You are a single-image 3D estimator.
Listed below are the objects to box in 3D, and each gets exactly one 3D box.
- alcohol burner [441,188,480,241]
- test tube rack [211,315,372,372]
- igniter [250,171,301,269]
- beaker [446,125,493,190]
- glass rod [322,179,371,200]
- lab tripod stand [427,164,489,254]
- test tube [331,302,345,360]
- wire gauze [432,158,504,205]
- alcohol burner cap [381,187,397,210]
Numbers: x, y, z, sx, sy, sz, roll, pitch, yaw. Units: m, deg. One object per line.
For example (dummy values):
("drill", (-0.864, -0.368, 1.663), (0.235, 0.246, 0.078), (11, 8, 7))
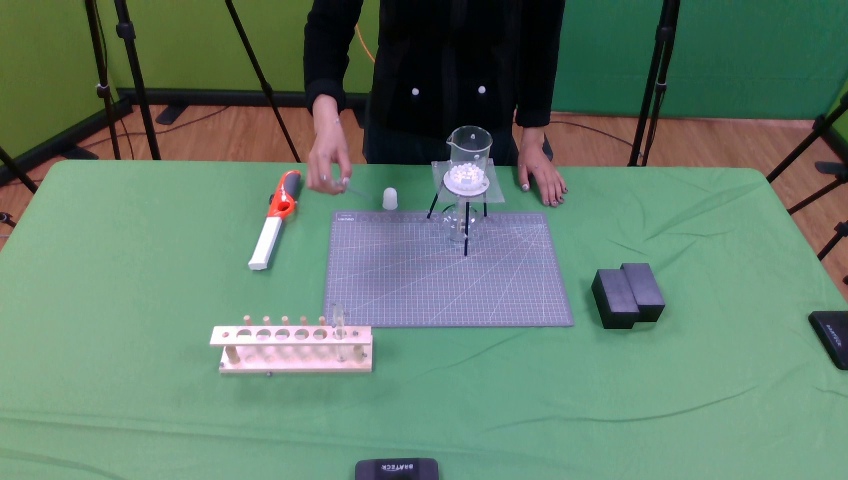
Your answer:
("alcohol burner", (0.073, -0.055, 1.189), (0.078, 0.120, 0.077), (1, 47, -1))
("test tube rack", (-0.208, 0.163, 0.982), (0.242, 0.085, 0.066), (1, 46, -4))
("igniter", (-0.297, -0.049, 1.220), (0.057, 0.025, 0.275), (-2, 45, 9))
("beaker", (0.079, -0.148, 1.106), (0.084, 0.101, 0.073), (-3, 47, -7))
("glass rod", (-0.134, -0.088, 1.077), (0.008, 0.200, 0.008), (-1, 85, 18))
("lab tripod stand", (0.078, -0.068, 1.188), (0.148, 0.132, 0.147), (3, 47, -3))
("test tube", (-0.132, 0.144, 0.938), (0.017, 0.151, 0.017), (2, 49, -3))
("wire gauze", (0.081, -0.111, 1.138), (0.125, 0.011, 0.120), (0, 48, -7))
("alcohol burner cap", (-0.072, -0.090, 1.267), (0.034, 0.048, 0.033), (3, 47, -2))
